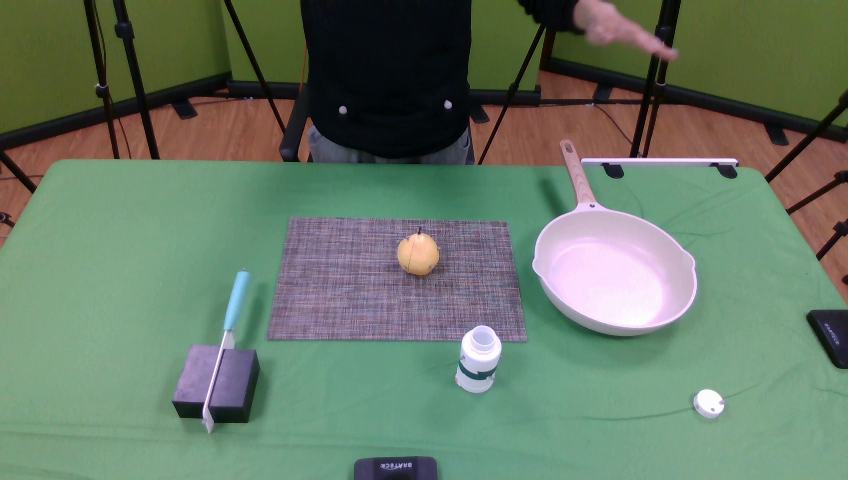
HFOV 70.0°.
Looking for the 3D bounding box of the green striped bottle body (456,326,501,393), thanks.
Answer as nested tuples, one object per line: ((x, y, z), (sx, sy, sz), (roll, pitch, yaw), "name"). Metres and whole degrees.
((0.086, 0.185, 0.959), (0.063, 0.120, 0.063), (2, 46, -2), "green striped bottle body")

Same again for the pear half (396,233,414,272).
((-0.037, 0.019, 1.125), (0.031, 0.088, 0.070), (5, 50, -1), "pear half")

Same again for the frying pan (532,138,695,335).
((0.336, -0.024, 1.190), (0.307, 0.103, 0.484), (-2, 55, -7), "frying pan")

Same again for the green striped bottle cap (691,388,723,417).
((0.460, 0.263, 0.984), (0.044, 0.020, 0.044), (3, 47, -3), "green striped bottle cap")

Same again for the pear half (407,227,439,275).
((0.000, 0.016, 1.117), (0.056, 0.110, 0.076), (4, 51, 1), "pear half")

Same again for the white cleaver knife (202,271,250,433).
((-0.322, 0.168, 0.980), (0.021, 0.066, 0.284), (7, 48, -6), "white cleaver knife")
